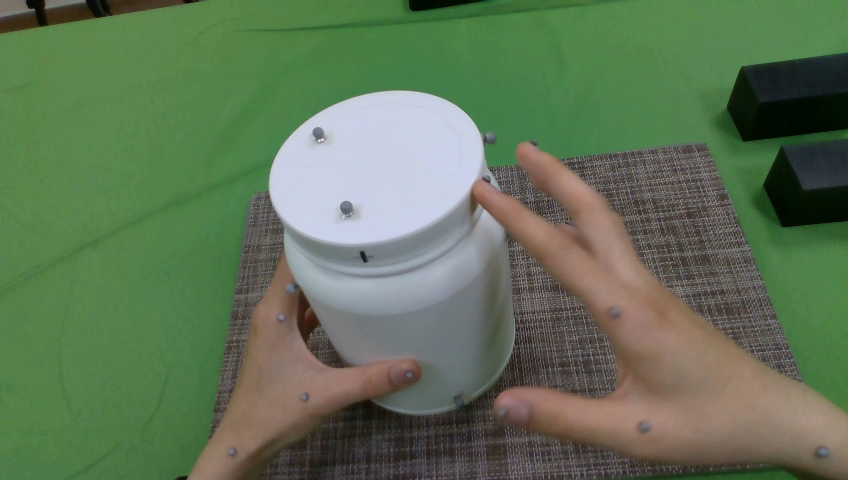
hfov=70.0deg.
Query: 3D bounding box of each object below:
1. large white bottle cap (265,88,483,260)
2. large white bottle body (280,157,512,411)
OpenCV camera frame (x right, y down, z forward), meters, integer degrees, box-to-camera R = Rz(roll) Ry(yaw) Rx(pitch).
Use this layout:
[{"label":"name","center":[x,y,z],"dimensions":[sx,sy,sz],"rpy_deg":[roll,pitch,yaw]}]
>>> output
[{"label":"large white bottle cap","center":[-0.026,-0.039,0.320],"dimensions":[0.115,0.018,0.113],"rpy_deg":[-5,51,6]},{"label":"large white bottle body","center":[-0.012,0.015,0.387],"dimensions":[0.130,0.186,0.129],"rpy_deg":[-5,51,7]}]
